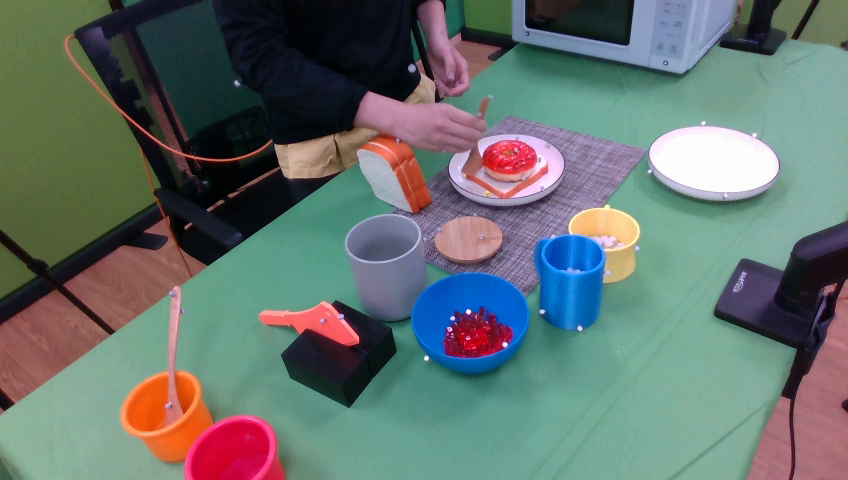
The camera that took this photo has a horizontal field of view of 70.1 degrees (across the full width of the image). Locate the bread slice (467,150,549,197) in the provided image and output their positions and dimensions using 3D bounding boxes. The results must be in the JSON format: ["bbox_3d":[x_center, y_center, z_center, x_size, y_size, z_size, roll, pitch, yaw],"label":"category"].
[{"bbox_3d":[0.156,-0.129,1.084,0.132,0.019,0.104,-34,48,-23],"label":"bread slice"}]

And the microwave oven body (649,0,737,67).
[{"bbox_3d":[0.475,-0.602,1.411,0.438,0.261,0.327,23,50,32],"label":"microwave oven body"}]

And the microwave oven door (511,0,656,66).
[{"bbox_3d":[0.351,-0.540,1.349,0.353,0.245,0.039,24,50,31],"label":"microwave oven door"}]

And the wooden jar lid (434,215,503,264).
[{"bbox_3d":[0.070,0.001,0.956,0.108,0.021,0.108,-5,40,4],"label":"wooden jar lid"}]

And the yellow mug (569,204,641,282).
[{"bbox_3d":[0.268,-0.005,0.904,0.099,0.064,0.130,7,42,15],"label":"yellow mug"}]

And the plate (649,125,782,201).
[{"bbox_3d":[0.493,-0.127,1.036,0.207,0.039,0.206,-4,41,4],"label":"plate"}]

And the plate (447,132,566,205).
[{"bbox_3d":[0.146,-0.124,1.076,0.209,0.038,0.208,-4,41,4],"label":"plate"}]

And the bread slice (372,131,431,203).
[{"bbox_3d":[-0.042,-0.127,1.038,0.106,0.135,0.018,30,63,33],"label":"bread slice"}]

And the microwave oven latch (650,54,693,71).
[{"bbox_3d":[0.531,-0.386,1.301,0.078,0.029,0.030,26,51,33],"label":"microwave oven latch"}]

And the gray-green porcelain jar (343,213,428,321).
[{"bbox_3d":[-0.049,0.042,0.849,0.106,0.127,0.105,-4,41,4],"label":"gray-green porcelain jar"}]

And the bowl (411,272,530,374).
[{"bbox_3d":[0.062,0.120,0.780,0.151,0.077,0.150,-4,40,4],"label":"bowl"}]

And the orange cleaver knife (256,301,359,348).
[{"bbox_3d":[-0.160,0.115,0.813,0.210,0.077,0.012,-9,29,48],"label":"orange cleaver knife"}]

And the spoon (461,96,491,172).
[{"bbox_3d":[0.087,-0.168,0.986,0.042,0.194,0.021,-14,59,-11],"label":"spoon"}]

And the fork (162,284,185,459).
[{"bbox_3d":[-0.303,0.157,0.733,0.028,0.019,0.207,-3,84,15],"label":"fork"}]

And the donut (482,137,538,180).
[{"bbox_3d":[0.148,-0.144,1.055,0.099,0.048,0.098,-1,42,1],"label":"donut"}]

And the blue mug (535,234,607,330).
[{"bbox_3d":[0.191,0.048,0.824,0.082,0.106,0.115,-26,44,-20],"label":"blue mug"}]
